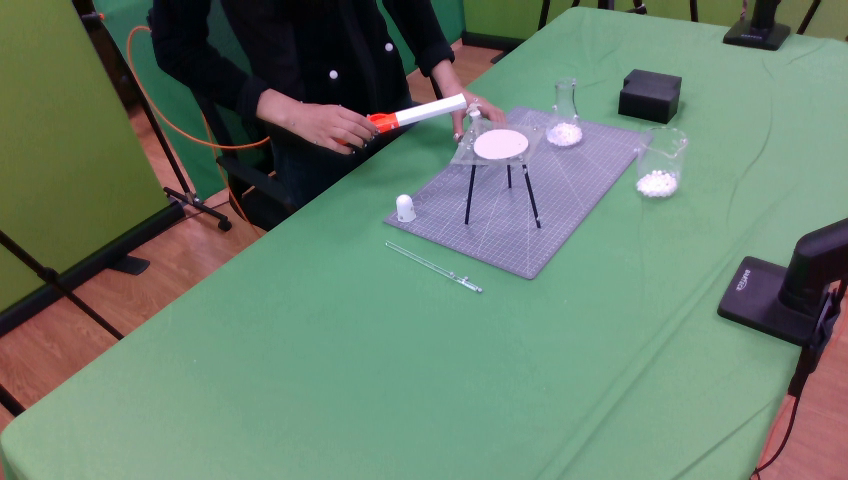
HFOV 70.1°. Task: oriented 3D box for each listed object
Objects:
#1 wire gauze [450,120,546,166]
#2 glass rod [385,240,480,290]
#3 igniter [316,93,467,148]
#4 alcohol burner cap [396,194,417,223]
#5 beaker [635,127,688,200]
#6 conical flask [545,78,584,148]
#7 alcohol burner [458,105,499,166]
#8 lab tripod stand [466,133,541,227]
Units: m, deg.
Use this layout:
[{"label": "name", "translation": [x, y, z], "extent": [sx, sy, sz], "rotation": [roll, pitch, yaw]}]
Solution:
[{"label": "wire gauze", "translation": [0.117, -0.151, 0.943], "extent": [0.121, 0.011, 0.125], "rotation": [9, 43, 21]}, {"label": "glass rod", "translation": [0.009, 0.037, 0.950], "extent": [0.198, 0.008, 0.008], "rotation": [26, 52, 35]}, {"label": "igniter", "translation": [-0.060, -0.214, 1.086], "extent": [0.277, 0.025, 0.057], "rotation": [-16, 44, -2]}, {"label": "alcohol burner cap", "translation": [-0.032, -0.056, 1.036], "extent": [0.034, 0.048, 0.033], "rotation": [-6, 41, 6]}, {"label": "beaker", "translation": [0.388, -0.122, 0.994], "extent": [0.074, 0.101, 0.083], "rotation": [-8, 40, 2]}, {"label": "conical flask", "translation": [0.264, -0.241, 1.135], "extent": [0.075, 0.122, 0.075], "rotation": [-6, 40, 5]}, {"label": "alcohol burner", "translation": [0.100, -0.199, 1.125], "extent": [0.078, 0.120, 0.077], "rotation": [-6, 41, 6]}, {"label": "lab tripod stand", "translation": [0.129, -0.099, 0.985], "extent": [0.148, 0.132, 0.147], "rotation": [-7, 38, 6]}]
